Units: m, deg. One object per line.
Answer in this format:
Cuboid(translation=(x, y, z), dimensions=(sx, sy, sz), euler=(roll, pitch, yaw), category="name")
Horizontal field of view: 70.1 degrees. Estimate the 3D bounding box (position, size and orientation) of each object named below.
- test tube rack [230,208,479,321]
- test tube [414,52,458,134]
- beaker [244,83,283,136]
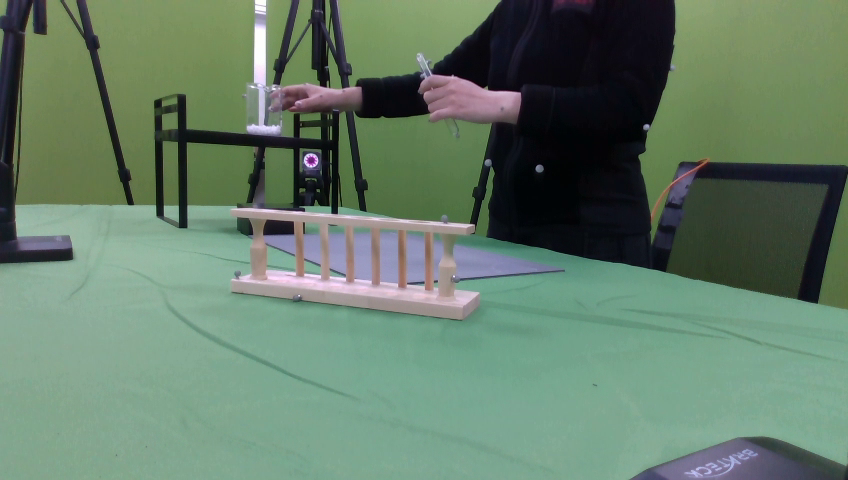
Cuboid(translation=(-0.069, 0.017, 0.598), dimensions=(0.242, 0.085, 0.067), euler=(5, 8, 18), category="test tube rack")
Cuboid(translation=(0.021, -0.243, 1.000), dimensions=(0.017, 0.150, 0.017), euler=(-25, -6, -3), category="test tube")
Cuboid(translation=(-0.322, -0.260, 1.215), dimensions=(0.074, 0.100, 0.083), euler=(-2, 9, -26), category="beaker")
